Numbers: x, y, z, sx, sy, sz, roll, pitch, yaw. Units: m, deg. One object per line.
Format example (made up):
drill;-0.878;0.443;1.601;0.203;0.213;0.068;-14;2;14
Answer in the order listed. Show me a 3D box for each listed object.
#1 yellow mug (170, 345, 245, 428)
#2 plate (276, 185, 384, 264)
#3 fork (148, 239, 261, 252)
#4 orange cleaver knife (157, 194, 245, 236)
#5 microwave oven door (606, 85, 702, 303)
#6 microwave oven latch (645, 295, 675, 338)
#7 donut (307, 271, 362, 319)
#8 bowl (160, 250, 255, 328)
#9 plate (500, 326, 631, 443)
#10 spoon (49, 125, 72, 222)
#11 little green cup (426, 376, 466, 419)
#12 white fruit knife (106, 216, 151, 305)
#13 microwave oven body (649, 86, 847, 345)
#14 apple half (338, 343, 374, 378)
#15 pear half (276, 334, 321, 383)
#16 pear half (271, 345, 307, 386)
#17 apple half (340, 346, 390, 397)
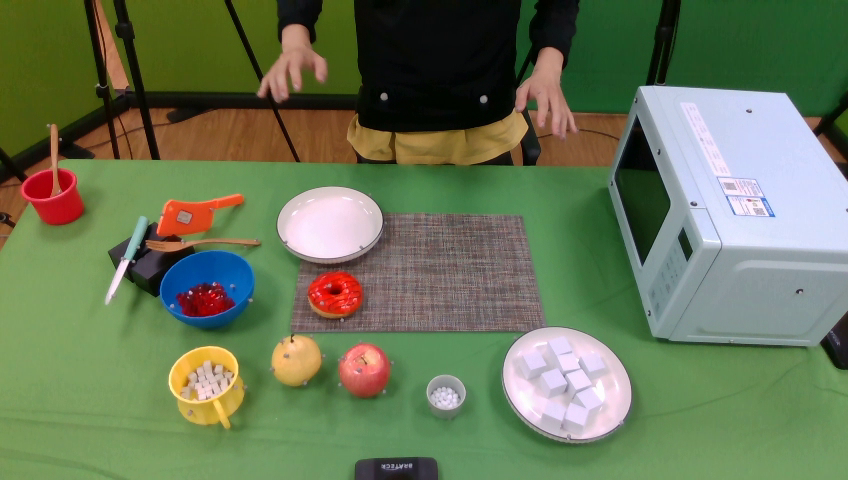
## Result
yellow mug;-0.322;0.230;0.922;0.100;0.064;0.130;-24;53;-25
plate;-0.184;-0.027;1.195;0.209;0.038;0.208;2;46;-2
fork;-0.399;0.007;1.118;0.208;0.019;0.028;-4;36;-36
orange cleaver knife;-0.427;-0.050;1.175;0.012;0.077;0.211;22;19;20
microwave oven door;0.422;-0.094;1.140;0.039;0.245;0.353;2;46;-1
microwave oven latch;0.412;0.134;1.061;0.030;0.029;0.078;3;45;0
donut;-0.157;0.097;1.073;0.099;0.048;0.098;4;45;-4
bowl;-0.362;0.097;1.040;0.151;0.077;0.150;2;45;-2
plate;0.224;0.233;0.978;0.208;0.039;0.206;2;46;-2
spoon;-0.717;-0.132;1.189;0.041;0.021;0.193;-3;90;-6
little green cup;0.033;0.248;0.950;0.061;0.039;0.061;2;46;-2
white fruit knife;-0.519;0.032;1.066;0.027;0.016;0.206;-18;45;19
microwave oven body;0.567;-0.053;1.118;0.326;0.261;0.439;2;45;-1
apple half;-0.112;0.192;0.968;0.081;0.081;0.032;-32;59;-29
pear half;-0.196;0.172;0.957;0.076;0.110;0.056;27;51;16
pear half;-0.216;0.200;0.943;0.070;0.088;0.031;27;49;15
apple half;-0.085;0.214;0.950;0.081;0.075;0.053;-29;58;-32
